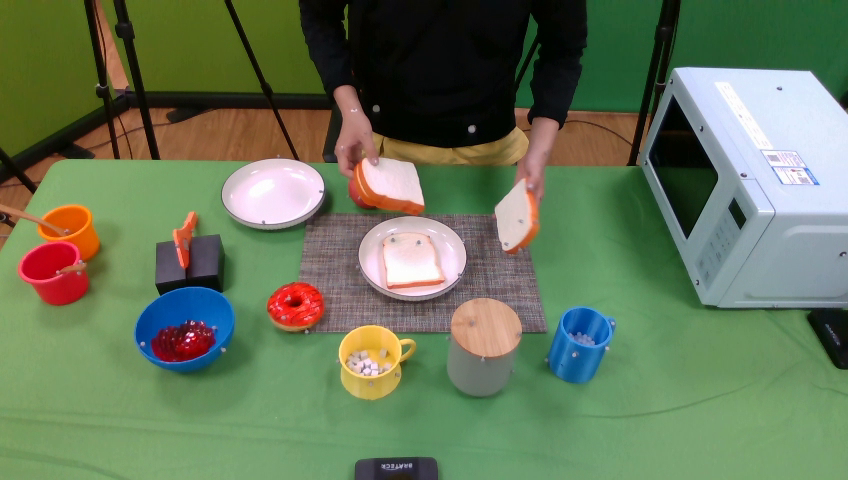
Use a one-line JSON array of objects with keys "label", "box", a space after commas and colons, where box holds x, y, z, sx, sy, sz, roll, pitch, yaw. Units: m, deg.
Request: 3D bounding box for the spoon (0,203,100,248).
[{"label": "spoon", "box": [-0.683, -0.031, 1.088, 0.195, 0.021, 0.041, 33, 33, -38]}]

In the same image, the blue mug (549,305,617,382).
[{"label": "blue mug", "box": [0.269, 0.166, 0.998, 0.116, 0.106, 0.082, -19, 51, -21]}]

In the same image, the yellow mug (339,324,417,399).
[{"label": "yellow mug", "box": [-0.072, 0.190, 0.978, 0.131, 0.064, 0.099, -17, 50, -20]}]

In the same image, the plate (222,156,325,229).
[{"label": "plate", "box": [-0.308, -0.095, 1.251, 0.209, 0.038, 0.208, 2, 46, -2]}]

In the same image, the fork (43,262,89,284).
[{"label": "fork", "box": [-0.599, 0.053, 1.013, 0.207, 0.019, 0.028, -14, 30, 45]}]

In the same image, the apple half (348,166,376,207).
[{"label": "apple half", "box": [-0.130, -0.109, 1.254, 0.053, 0.075, 0.080, -9, 50, -7]}]

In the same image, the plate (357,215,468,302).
[{"label": "plate", "box": [-0.022, 0.037, 1.141, 0.208, 0.039, 0.206, 2, 46, -2]}]

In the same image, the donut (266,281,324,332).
[{"label": "donut", "box": [-0.222, 0.115, 1.049, 0.099, 0.048, 0.098, 2, 46, -2]}]

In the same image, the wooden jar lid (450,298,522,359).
[{"label": "wooden jar lid", "box": [0.093, 0.135, 0.914, 0.108, 0.021, 0.107, 3, 48, -3]}]

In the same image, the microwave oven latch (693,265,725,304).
[{"label": "microwave oven latch", "box": [0.522, 0.081, 1.115, 0.030, 0.029, 0.078, 2, 46, -1]}]

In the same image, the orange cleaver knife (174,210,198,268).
[{"label": "orange cleaver knife", "box": [-0.436, -0.006, 1.127, 0.012, 0.077, 0.210, -13, 19, -8]}]

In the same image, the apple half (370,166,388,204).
[{"label": "apple half", "box": [-0.091, -0.115, 1.261, 0.033, 0.082, 0.080, -9, 48, -4]}]

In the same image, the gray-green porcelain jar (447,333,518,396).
[{"label": "gray-green porcelain jar", "box": [0.091, 0.178, 0.960, 0.106, 0.127, 0.105, 2, 46, -2]}]

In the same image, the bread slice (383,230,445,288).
[{"label": "bread slice", "box": [-0.028, 0.035, 1.144, 0.107, 0.018, 0.133, -7, 48, -11]}]

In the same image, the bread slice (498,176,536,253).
[{"label": "bread slice", "box": [0.171, -0.043, 1.123, 0.019, 0.105, 0.130, 16, 47, -18]}]

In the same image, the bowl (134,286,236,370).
[{"label": "bowl", "box": [-0.377, 0.155, 0.981, 0.151, 0.077, 0.150, 2, 46, -2]}]

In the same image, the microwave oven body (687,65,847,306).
[{"label": "microwave oven body", "box": [0.669, -0.111, 1.176, 0.326, 0.261, 0.439, 0, 46, -3]}]

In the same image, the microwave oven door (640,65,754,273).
[{"label": "microwave oven door", "box": [0.523, -0.147, 1.193, 0.039, 0.245, 0.353, 0, 47, -3]}]
